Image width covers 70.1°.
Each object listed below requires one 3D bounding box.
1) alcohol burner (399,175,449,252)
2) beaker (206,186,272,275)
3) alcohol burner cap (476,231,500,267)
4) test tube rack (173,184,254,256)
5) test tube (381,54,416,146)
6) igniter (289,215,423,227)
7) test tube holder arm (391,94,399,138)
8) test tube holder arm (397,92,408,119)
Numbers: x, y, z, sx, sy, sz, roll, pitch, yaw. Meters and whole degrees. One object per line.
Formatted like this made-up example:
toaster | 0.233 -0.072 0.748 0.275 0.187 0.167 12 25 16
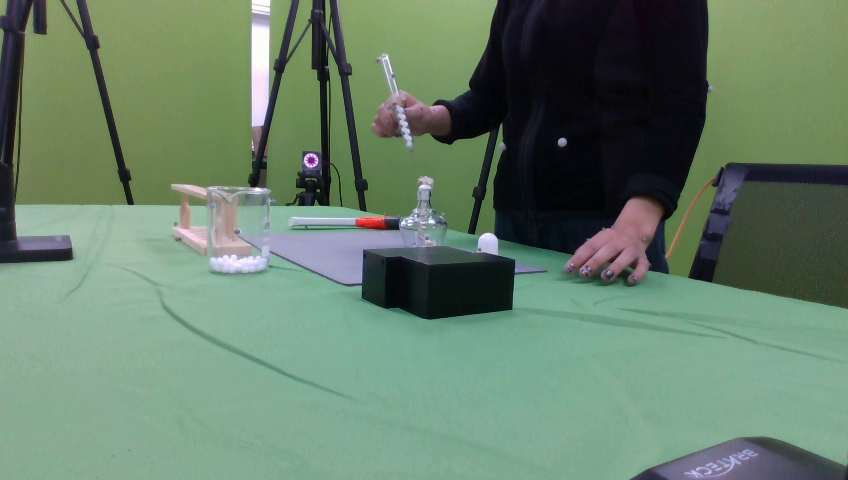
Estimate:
alcohol burner | 0.000 -0.041 0.937 0.078 0.119 0.078 0 8 0
beaker | -0.220 -0.012 0.717 0.074 0.100 0.084 2 8 -3
alcohol burner cap | 0.088 0.012 0.830 0.034 0.048 0.034 2 7 0
test tube rack | -0.328 -0.036 0.927 0.067 0.085 0.241 -2 9 -32
test tube | -0.039 -0.215 0.927 0.017 0.150 0.017 -16 -6 -2
igniter | -0.133 -0.038 1.231 0.278 0.025 0.057 -1 -2 -26
test tube holder arm | -0.046 -0.202 0.993 0.013 0.015 0.178 -11 -7 -4
test tube holder arm | -0.037 -0.209 0.950 0.010 0.015 0.087 -10 -7 -12
